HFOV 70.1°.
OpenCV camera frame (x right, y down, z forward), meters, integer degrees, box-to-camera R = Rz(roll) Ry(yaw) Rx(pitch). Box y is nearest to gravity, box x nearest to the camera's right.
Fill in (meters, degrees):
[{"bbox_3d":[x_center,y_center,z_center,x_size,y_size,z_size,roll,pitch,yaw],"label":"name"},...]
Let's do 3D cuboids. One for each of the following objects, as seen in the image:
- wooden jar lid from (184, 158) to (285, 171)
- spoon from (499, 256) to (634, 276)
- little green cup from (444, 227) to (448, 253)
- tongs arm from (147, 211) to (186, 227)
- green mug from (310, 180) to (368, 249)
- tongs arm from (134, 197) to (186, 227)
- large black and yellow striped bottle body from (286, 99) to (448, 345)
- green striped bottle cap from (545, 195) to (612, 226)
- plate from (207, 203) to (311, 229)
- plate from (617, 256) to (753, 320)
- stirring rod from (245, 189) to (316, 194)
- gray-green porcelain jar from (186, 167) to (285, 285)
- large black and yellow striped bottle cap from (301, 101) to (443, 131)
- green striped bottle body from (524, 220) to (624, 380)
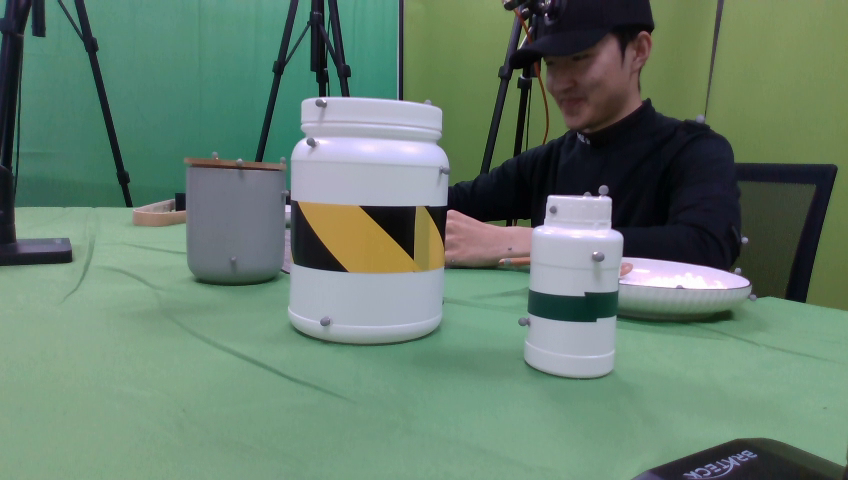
[{"bbox_3d":[-0.210,-0.078,0.674,0.108,0.020,0.108,5,6,0],"label":"wooden jar lid"},{"bbox_3d":[0.162,0.027,0.679,0.195,0.021,0.041,8,2,-30],"label":"spoon"},{"bbox_3d":[0.006,0.001,0.921,0.061,0.038,0.061,0,9,0],"label":"little green cup"},{"bbox_3d":[-0.478,-0.059,1.322,0.028,0.028,0.388,12,8,7],"label":"tongs arm"},{"bbox_3d":[-0.130,-0.044,0.981,0.092,0.105,0.125,4,8,14],"label":"green mug"},{"bbox_3d":[-0.556,-0.066,1.320,0.051,0.026,0.384,7,7,-5],"label":"tongs arm"},{"bbox_3d":[-0.047,-0.018,0.501,0.131,0.184,0.130,2,7,0],"label":"large black and yellow striped bottle body"},{"bbox_3d":[0.106,-0.020,0.414,0.044,0.020,0.044,2,4,0],"label":"green striped bottle cap"},{"bbox_3d":[-0.342,-0.050,1.259,0.208,0.039,0.207,2,7,0],"label":"plate"},{"bbox_3d":[0.234,0.049,0.651,0.209,0.038,0.209,2,7,0],"label":"plate"},{"bbox_3d":[-0.351,-0.120,1.489,0.177,0.014,0.006,-3,6,-29],"label":"stirring rod"},{"bbox_3d":[-0.212,-0.017,0.682,0.106,0.126,0.106,2,7,0],"label":"gray-green porcelain jar"},{"bbox_3d":[-0.042,-0.100,0.491,0.115,0.019,0.115,1,8,0],"label":"large black and yellow striped bottle cap"},{"bbox_3d":[0.104,0.031,0.422,0.063,0.119,0.063,2,7,0],"label":"green striped bottle body"}]
